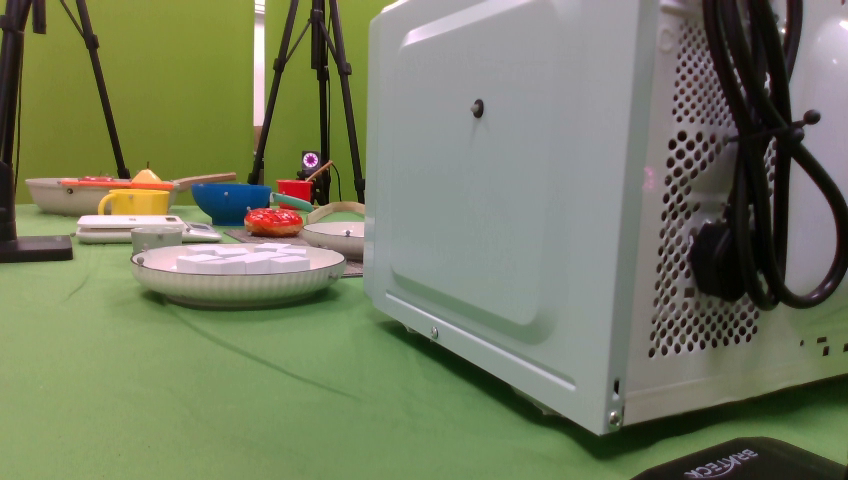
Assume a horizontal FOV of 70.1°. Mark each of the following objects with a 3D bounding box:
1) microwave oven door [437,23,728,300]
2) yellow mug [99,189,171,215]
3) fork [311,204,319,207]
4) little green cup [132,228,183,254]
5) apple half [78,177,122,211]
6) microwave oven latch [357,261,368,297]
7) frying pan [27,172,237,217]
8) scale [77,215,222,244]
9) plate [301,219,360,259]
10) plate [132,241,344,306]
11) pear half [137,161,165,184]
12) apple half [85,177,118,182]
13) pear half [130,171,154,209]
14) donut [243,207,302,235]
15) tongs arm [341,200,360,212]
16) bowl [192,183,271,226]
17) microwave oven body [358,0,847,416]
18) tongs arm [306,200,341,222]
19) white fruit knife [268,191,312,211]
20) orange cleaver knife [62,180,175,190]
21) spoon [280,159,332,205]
[{"bbox_3d":[0.180,-0.072,0.621,0.358,0.243,0.039,-2,8,-29],"label":"microwave oven door"},{"bbox_3d":[-0.518,-0.055,1.080,0.099,0.064,0.131,6,9,26],"label":"yellow mug"},{"bbox_3d":[-0.356,-0.105,1.526,0.208,0.018,0.028,16,-5,-41],"label":"fork"},{"bbox_3d":[-0.342,0.006,0.779,0.061,0.038,0.061,2,8,0],"label":"little green cup"},{"bbox_3d":[-0.698,-0.099,1.298,0.081,0.074,0.053,-9,9,-40],"label":"apple half"},{"bbox_3d":[-0.019,0.033,0.531,0.079,0.029,0.030,-1,7,-27],"label":"microwave oven latch"},{"bbox_3d":[-0.624,-0.118,1.387,0.305,0.102,0.490,8,17,32],"label":"frying pan"},{"bbox_3d":[-0.434,-0.019,0.963,0.202,0.031,0.148,-1,9,-27],"label":"scale"},{"bbox_3d":[-0.077,-0.002,0.893,0.209,0.038,0.209,3,8,0],"label":"plate"},{"bbox_3d":[-0.187,0.033,0.625,0.208,0.039,0.207,2,8,0],"label":"plate"},{"bbox_3d":[-0.604,-0.120,1.354,0.056,0.110,0.076,3,11,7],"label":"pear half"},{"bbox_3d":[-0.673,-0.096,1.269,0.082,0.081,0.032,-4,6,-40],"label":"apple half"},{"bbox_3d":[-0.640,-0.114,1.361,0.031,0.088,0.070,5,10,5],"label":"pear half"},{"bbox_3d":[-0.261,-0.032,1.043,0.099,0.048,0.099,4,9,0],"label":"donut"},{"bbox_3d":[-0.149,-0.070,1.429,0.051,0.026,0.383,-4,8,-15],"label":"tongs arm"},{"bbox_3d":[-0.382,-0.071,1.202,0.151,0.077,0.151,3,7,0],"label":"bowl"},{"bbox_3d":[0.211,-0.047,0.475,0.444,0.260,0.324,-1,7,-28],"label":"microwave oven body"},{"bbox_3d":[-0.234,-0.068,1.414,0.028,0.028,0.387,-5,7,1],"label":"tongs arm"},{"bbox_3d":[-0.364,-0.105,1.464,0.208,0.027,0.016,15,0,-34],"label":"white fruit knife"},{"bbox_3d":[-0.600,-0.110,1.193,0.212,0.012,0.077,1,8,-13],"label":"orange cleaver knife"},{"bbox_3d":[-0.316,-0.159,1.640,0.194,0.022,0.041,-50,32,-20],"label":"spoon"}]
